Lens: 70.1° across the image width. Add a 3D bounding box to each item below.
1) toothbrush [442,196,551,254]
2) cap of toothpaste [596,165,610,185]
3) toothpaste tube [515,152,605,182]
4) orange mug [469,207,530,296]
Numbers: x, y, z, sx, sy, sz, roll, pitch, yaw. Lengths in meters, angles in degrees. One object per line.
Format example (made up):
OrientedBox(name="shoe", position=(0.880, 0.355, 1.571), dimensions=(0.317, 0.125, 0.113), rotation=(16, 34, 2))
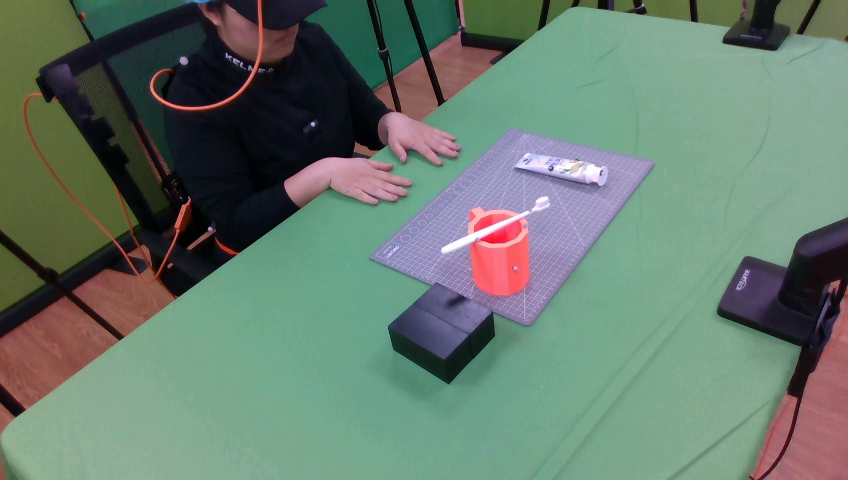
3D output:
OrientedBox(name="toothbrush", position=(0.103, -0.021, 0.846), dimensions=(0.182, 0.017, 0.014), rotation=(-25, 48, -18))
OrientedBox(name="cap of toothpaste", position=(0.307, -0.113, 1.041), dimensions=(0.011, 0.037, 0.037), rotation=(20, 48, 39))
OrientedBox(name="toothpaste tube", position=(0.248, -0.133, 1.087), dimensions=(0.164, 0.034, 0.055), rotation=(18, 42, 34))
OrientedBox(name="orange mug", position=(0.104, 0.008, 0.894), dimensions=(0.084, 0.101, 0.125), rotation=(-22, 46, -14))
